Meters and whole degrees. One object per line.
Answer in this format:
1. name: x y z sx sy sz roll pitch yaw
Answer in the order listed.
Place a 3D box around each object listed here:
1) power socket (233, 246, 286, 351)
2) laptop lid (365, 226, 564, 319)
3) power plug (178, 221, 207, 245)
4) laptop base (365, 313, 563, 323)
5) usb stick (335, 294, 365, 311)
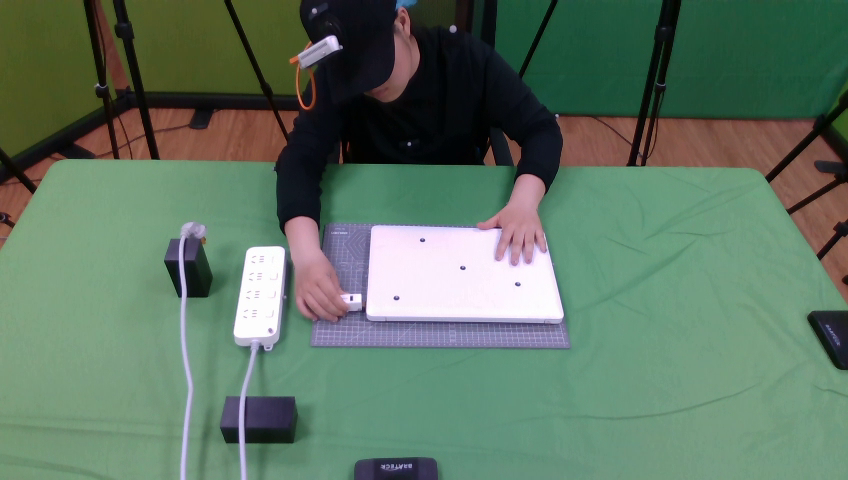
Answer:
1. power socket: -0.290 0.094 1.078 0.072 0.033 0.225 -2 46 -5
2. laptop lid: 0.071 0.055 1.138 0.357 0.013 0.240 3 43 -2
3. power plug: -0.413 -0.002 1.070 0.035 0.053 0.072 -1 41 24
4. laptop base: 0.070 0.064 1.145 0.354 0.023 0.234 1 43 -3
5. usb stick: -0.126 0.110 1.067 0.059 0.027 0.021 2 47 -9
